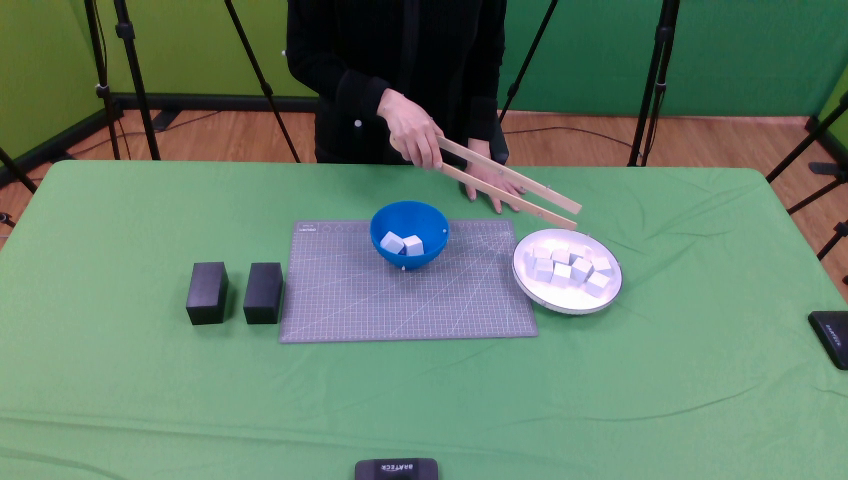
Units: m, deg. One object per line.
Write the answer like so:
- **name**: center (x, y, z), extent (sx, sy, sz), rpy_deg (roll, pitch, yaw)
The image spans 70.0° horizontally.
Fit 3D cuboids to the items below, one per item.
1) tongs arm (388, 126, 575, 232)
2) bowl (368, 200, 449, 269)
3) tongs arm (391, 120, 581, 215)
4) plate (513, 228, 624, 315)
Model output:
- **tongs arm**: center (0.102, -0.109, 1.121), extent (0.387, 0.028, 0.028), rpy_deg (27, 58, 2)
- **bowl**: center (-0.031, 0.002, 1.151), extent (0.151, 0.077, 0.150), rpy_deg (2, 46, -2)
- **tongs arm**: center (0.114, -0.132, 1.139), extent (0.384, 0.026, 0.050), rpy_deg (28, 55, 3)
- **plate**: center (0.268, 0.063, 1.145), extent (0.208, 0.039, 0.206), rpy_deg (3, 46, -3)
